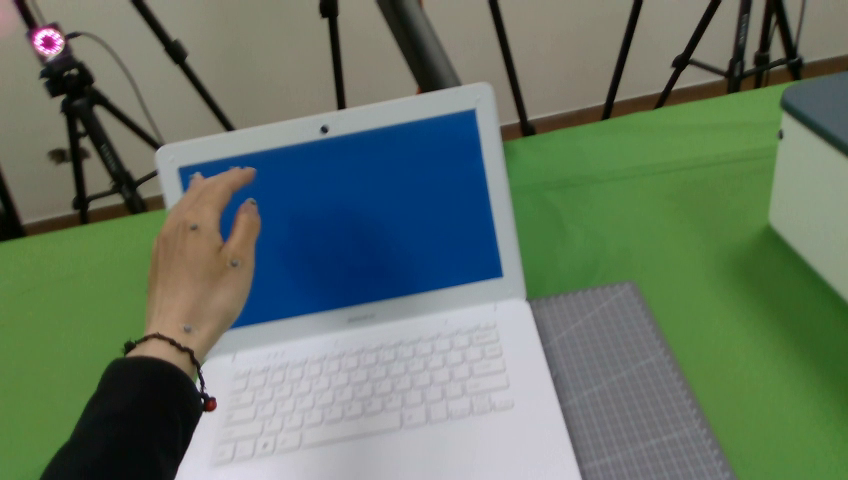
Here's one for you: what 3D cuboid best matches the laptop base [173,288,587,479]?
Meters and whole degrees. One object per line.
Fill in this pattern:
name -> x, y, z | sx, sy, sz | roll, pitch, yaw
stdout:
laptop base -> -0.052, 0.162, 0.562 | 0.354, 0.023, 0.233 | -11, 42, 2

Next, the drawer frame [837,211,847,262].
drawer frame -> 0.508, 0.030, 0.497 | 0.202, 0.083, 0.211 | -10, 35, 0

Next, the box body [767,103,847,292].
box body -> 0.506, -0.018, 0.509 | 0.254, 0.162, 0.360 | -14, 38, -1

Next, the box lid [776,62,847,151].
box lid -> 0.492, -0.073, 0.461 | 0.263, 0.015, 0.367 | -14, 38, 0

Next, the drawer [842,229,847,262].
drawer -> 0.508, 0.035, 0.501 | 0.194, 0.074, 0.209 | -13, 40, 4

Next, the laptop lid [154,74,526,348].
laptop lid -> -0.084, -0.023, 0.632 | 0.357, 0.242, 0.013 | -12, 9, 2
